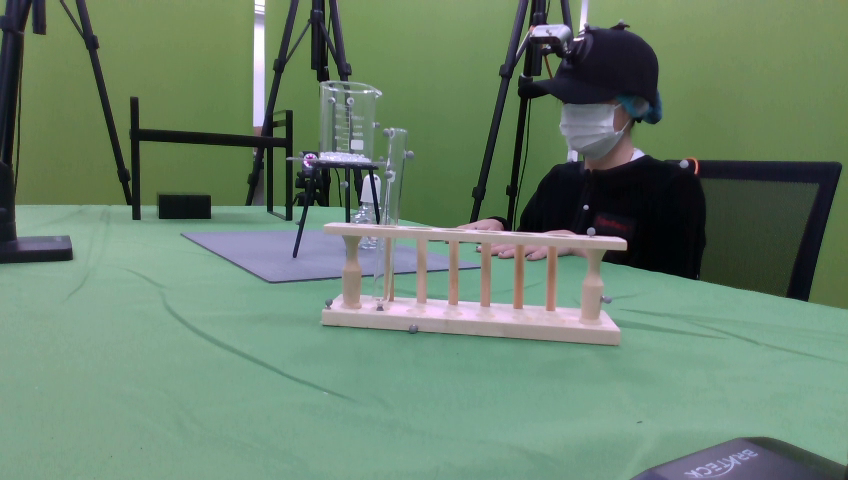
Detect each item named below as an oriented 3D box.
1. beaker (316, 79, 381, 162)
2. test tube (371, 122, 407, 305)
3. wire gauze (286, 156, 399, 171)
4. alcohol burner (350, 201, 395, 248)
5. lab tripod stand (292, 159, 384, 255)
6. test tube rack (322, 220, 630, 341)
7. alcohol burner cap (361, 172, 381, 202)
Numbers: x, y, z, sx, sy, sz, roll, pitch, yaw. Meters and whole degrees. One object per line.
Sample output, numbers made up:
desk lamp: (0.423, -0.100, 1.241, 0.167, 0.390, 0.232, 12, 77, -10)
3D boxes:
beaker: (-0.098, -0.151, 0.778, 0.084, 0.100, 0.074, 4, 7, 6)
test tube: (-0.029, -0.020, 0.493, 0.017, 0.150, 0.017, 6, 9, -1)
wire gauze: (-0.101, -0.103, 0.788, 0.121, 0.011, 0.125, 6, 4, 5)
alcohol burner: (-0.084, -0.048, 0.953, 0.078, 0.119, 0.078, 1, 6, 0)
lab tripod stand: (-0.105, -0.039, 0.797, 0.148, 0.131, 0.148, 2, 5, 0)
test tube rack: (0.041, 0.029, 0.512, 0.242, 0.085, 0.067, 3, 7, 5)
alcohol burner cap: (-0.081, -0.083, 0.949, 0.034, 0.048, 0.034, 7, 7, -1)
